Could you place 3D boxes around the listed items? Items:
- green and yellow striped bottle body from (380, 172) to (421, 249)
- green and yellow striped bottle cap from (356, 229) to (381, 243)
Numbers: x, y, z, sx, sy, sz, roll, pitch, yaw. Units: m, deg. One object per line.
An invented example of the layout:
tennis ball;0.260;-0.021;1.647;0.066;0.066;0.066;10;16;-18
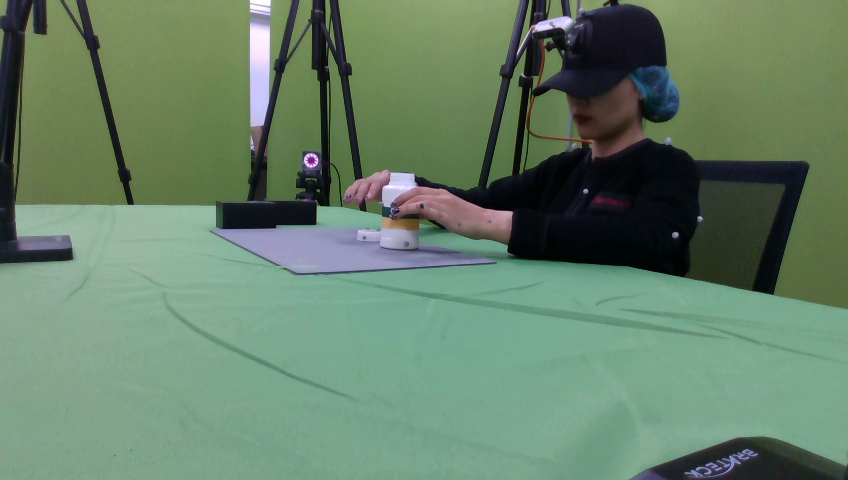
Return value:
green and yellow striped bottle body;-0.037;-0.048;0.959;0.063;0.119;0.063;3;7;0
green and yellow striped bottle cap;-0.094;-0.008;1.040;0.045;0.020;0.045;3;6;0
